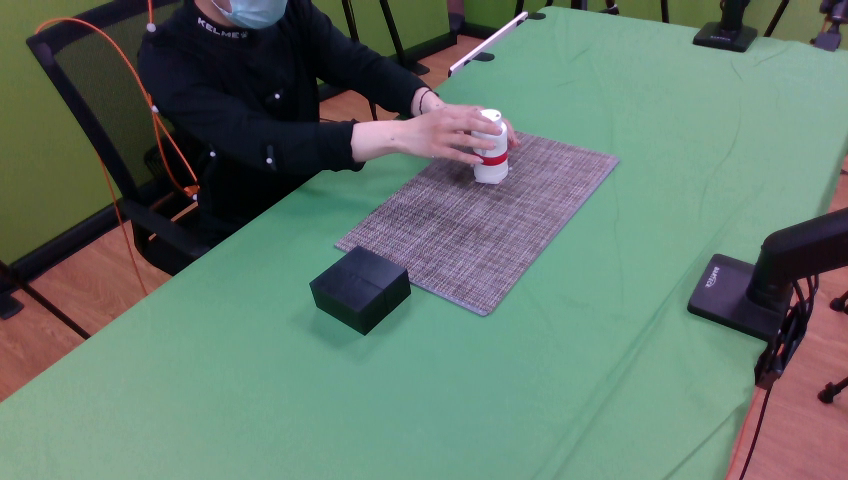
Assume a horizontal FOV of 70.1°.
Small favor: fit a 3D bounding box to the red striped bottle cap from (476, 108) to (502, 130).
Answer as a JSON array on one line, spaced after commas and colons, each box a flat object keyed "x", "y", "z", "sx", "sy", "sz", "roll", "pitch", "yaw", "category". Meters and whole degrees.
[{"x": 0.110, "y": -0.207, "z": 1.030, "sx": 0.044, "sy": 0.018, "sz": 0.044, "roll": -5, "pitch": 45, "yaw": 5, "category": "red striped bottle cap"}]

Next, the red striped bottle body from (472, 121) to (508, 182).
[{"x": 0.117, "y": -0.167, "z": 1.064, "sx": 0.063, "sy": 0.120, "sz": 0.062, "roll": -4, "pitch": 42, "yaw": 4, "category": "red striped bottle body"}]
